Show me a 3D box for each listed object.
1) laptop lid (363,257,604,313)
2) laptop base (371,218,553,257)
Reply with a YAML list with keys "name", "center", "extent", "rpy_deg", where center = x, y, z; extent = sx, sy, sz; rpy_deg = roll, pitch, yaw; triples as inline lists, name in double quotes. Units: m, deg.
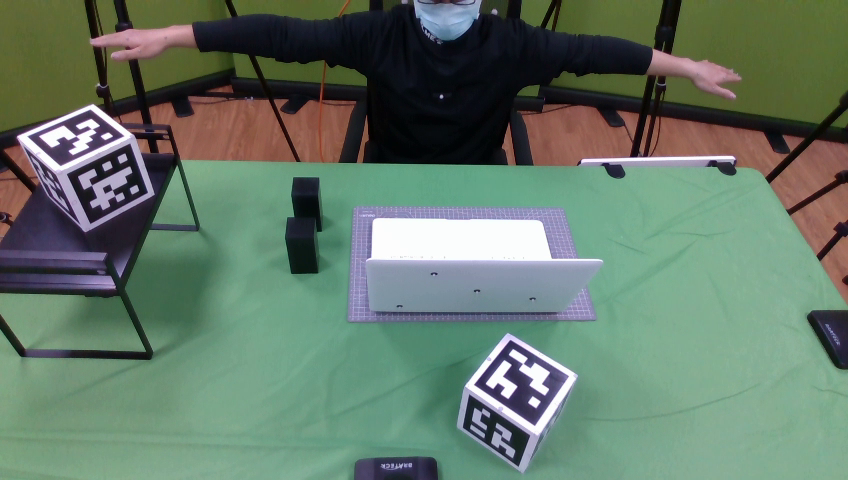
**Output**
- name: "laptop lid"
  center: [0.084, 0.076, 0.972]
  extent: [0.357, 0.242, 0.013]
  rpy_deg: [1, 65, -5]
- name: "laptop base"
  center: [0.074, 0.044, 1.159]
  extent: [0.354, 0.023, 0.234]
  rpy_deg: [0, 43, -3]
